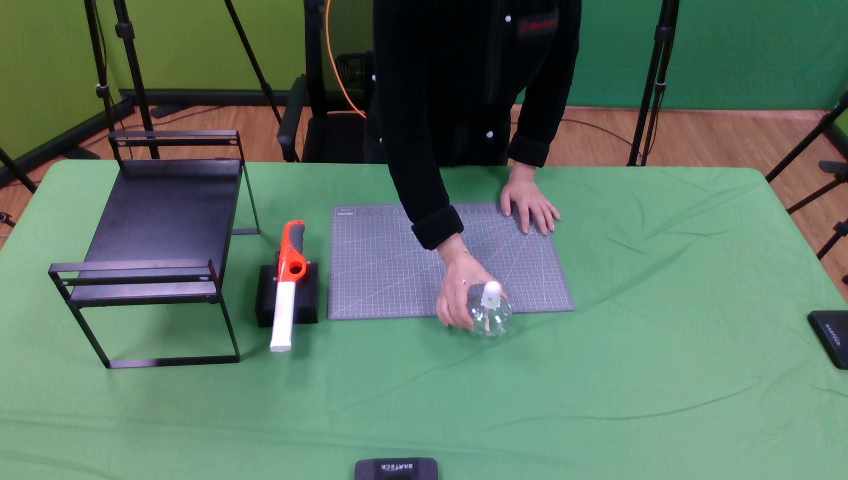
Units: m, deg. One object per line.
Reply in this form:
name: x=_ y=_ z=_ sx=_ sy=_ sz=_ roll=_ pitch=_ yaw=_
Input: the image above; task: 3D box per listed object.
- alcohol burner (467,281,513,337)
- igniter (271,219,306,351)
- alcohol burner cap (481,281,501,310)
alcohol burner: x=0.113 y=0.109 z=1.020 sx=0.078 sy=0.119 sz=0.077 roll=2 pitch=45 yaw=-2
igniter: x=-0.235 y=0.067 z=1.047 sx=0.057 sy=0.025 sz=0.274 roll=1 pitch=49 yaw=-6
alcohol burner cap: x=0.111 y=0.088 z=0.998 sx=0.034 sy=0.048 sz=0.033 roll=1 pitch=43 yaw=-1
